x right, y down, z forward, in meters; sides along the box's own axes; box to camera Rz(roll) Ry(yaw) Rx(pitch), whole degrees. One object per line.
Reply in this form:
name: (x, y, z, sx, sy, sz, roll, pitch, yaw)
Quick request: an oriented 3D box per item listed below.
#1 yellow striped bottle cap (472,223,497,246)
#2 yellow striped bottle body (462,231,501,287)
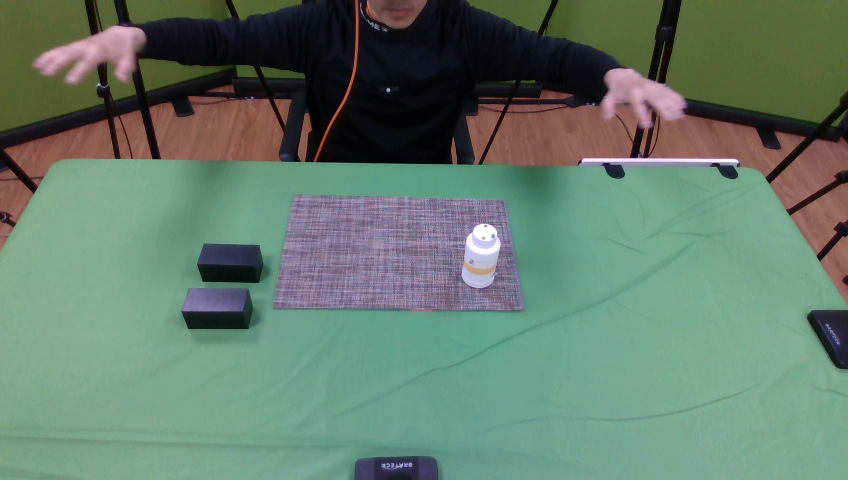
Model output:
yellow striped bottle cap: (0.107, -0.010, 1.068, 0.044, 0.019, 0.044, 3, 47, -3)
yellow striped bottle body: (0.105, 0.025, 1.106, 0.063, 0.121, 0.062, 2, 46, -2)
